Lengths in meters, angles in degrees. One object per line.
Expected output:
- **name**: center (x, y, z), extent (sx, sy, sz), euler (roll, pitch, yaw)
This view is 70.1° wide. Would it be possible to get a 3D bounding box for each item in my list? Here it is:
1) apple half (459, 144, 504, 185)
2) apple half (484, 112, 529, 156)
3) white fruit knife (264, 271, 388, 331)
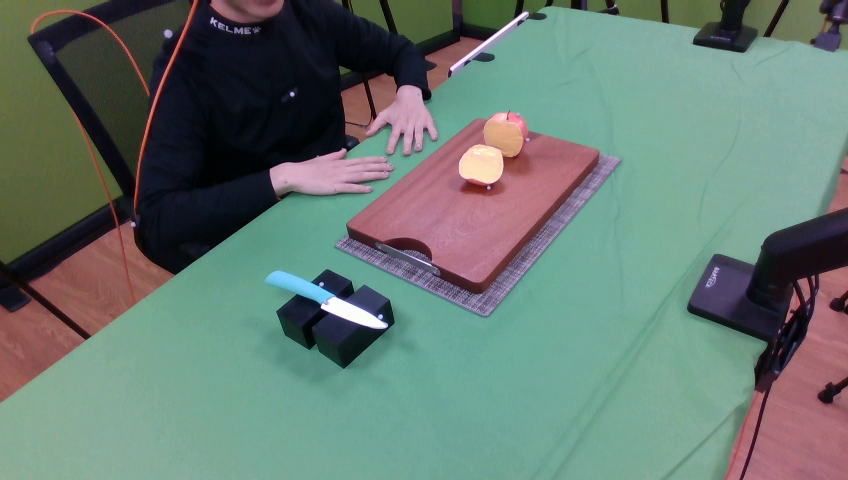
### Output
- **apple half**: center (0.102, -0.125, 1.040), extent (0.081, 0.033, 0.081), euler (-3, 65, 7)
- **apple half**: center (0.154, -0.195, 1.090), extent (0.080, 0.075, 0.053), euler (13, 40, 28)
- **white fruit knife**: center (-0.134, 0.082, 0.824), extent (0.206, 0.016, 0.027), euler (20, 71, 25)
